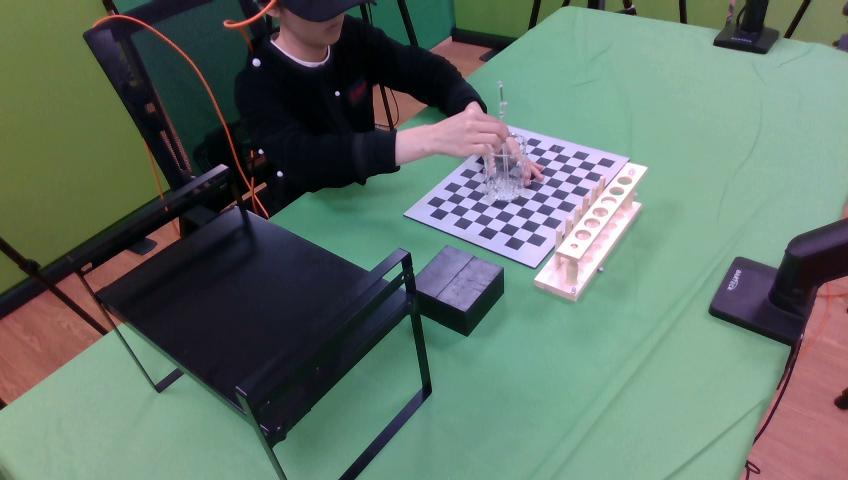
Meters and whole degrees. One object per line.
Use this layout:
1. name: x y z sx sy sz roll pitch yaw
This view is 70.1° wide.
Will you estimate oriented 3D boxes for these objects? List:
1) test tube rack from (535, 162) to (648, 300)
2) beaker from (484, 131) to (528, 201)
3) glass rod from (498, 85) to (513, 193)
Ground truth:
1. test tube rack: 0.257 -0.024 0.916 0.066 0.085 0.243 22 49 30
2. beaker: 0.143 -0.126 1.035 0.073 0.101 0.084 25 50 32
3. glass rod: 0.134 -0.160 0.986 0.008 0.201 0.008 -8 38 7
